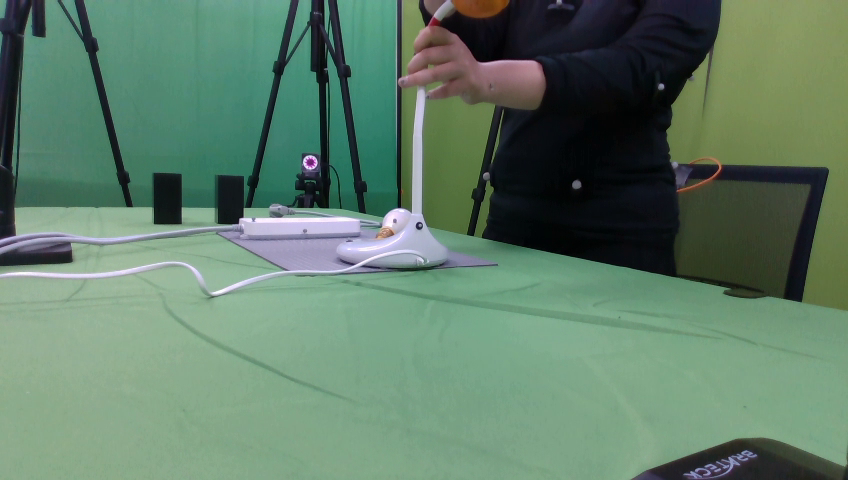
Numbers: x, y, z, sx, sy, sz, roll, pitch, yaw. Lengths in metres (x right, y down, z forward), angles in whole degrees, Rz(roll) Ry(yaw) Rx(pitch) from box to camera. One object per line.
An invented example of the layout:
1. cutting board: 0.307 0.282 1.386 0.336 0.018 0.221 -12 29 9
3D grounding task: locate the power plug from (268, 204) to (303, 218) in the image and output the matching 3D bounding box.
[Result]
1. power plug: -0.327 -0.060 1.404 0.073 0.035 0.052 22 -14 -25

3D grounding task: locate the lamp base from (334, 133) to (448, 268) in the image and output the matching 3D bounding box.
1. lamp base: -0.034 -0.057 0.831 0.161 0.180 0.178 -2 11 -36

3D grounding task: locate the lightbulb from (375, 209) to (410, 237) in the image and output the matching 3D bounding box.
1. lightbulb: -0.052 -0.016 1.023 0.059 0.059 0.108 6 23 21

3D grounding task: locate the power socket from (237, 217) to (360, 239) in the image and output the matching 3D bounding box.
1. power socket: -0.221 -0.023 1.080 0.228 0.032 0.072 -2 8 -33

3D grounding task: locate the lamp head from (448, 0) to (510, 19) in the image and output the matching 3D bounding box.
1. lamp head: 0.063 -0.322 0.703 0.112 0.122 0.112 6 -3 1
